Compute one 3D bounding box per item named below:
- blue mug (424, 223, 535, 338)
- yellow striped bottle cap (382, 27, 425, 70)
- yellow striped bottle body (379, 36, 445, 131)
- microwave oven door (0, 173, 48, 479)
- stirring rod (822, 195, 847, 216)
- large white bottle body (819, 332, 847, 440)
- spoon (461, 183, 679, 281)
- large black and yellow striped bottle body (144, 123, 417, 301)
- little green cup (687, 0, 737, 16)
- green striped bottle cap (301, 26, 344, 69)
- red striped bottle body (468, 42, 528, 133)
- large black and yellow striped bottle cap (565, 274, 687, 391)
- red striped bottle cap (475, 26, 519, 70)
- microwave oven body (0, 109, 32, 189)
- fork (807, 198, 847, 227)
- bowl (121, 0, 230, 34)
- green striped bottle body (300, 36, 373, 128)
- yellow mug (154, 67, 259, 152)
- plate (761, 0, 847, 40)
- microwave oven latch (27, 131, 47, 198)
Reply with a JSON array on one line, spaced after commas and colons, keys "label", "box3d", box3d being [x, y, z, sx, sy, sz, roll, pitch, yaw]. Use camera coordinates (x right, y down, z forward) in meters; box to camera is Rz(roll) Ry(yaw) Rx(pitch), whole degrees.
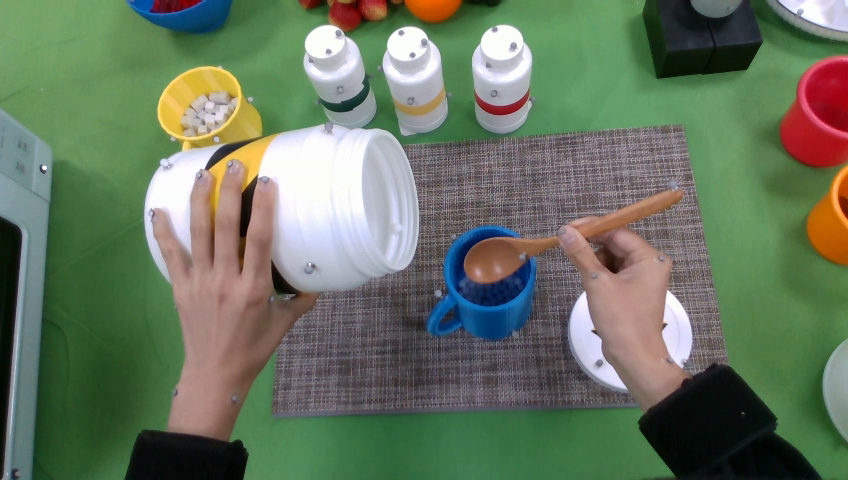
[{"label": "blue mug", "box3d": [0.049, 0.051, 0.578, 0.116, 0.106, 0.081, -35, 68, -7]}, {"label": "yellow striped bottle cap", "box3d": [-0.021, -0.197, 0.624, 0.044, 0.019, 0.044, -1, 65, 2]}, {"label": "yellow striped bottle body", "box3d": [-0.013, -0.178, 0.672, 0.063, 0.121, 0.062, -3, 68, 7]}, {"label": "microwave oven door", "box3d": [-0.442, 0.074, 0.540, 0.039, 0.246, 0.353, -12, 68, 3]}, {"label": "stirring rod", "box3d": [0.412, -0.008, 0.546, 0.014, 0.006, 0.175, -1, 25, 4]}, {"label": "large white bottle body", "box3d": [0.418, 0.109, 0.472, 0.130, 0.186, 0.129, -2, 68, 6]}, {"label": "spoon", "box3d": [0.113, -0.004, 0.497, 0.193, 0.042, 0.021, -21, 19, 35]}, {"label": "large black and yellow striped bottle body", "box3d": [-0.109, -0.022, 0.489, 0.183, 0.132, 0.130, -7, 67, 20]}, {"label": "little green cup", "box3d": [0.318, -0.277, 0.660, 0.061, 0.039, 0.061, -2, 66, 5]}, {"label": "green striped bottle cap", "box3d": [-0.107, -0.203, 0.636, 0.044, 0.020, 0.044, -1, 68, 4]}, {"label": "red striped bottle body", "box3d": [0.080, -0.175, 0.660, 0.063, 0.120, 0.062, -2, 67, 6]}, {"label": "large black and yellow striped bottle cap", "box3d": [0.197, 0.089, 0.594, 0.115, 0.019, 0.114, -2, 67, 6]}, {"label": "red striped bottle cap", "box3d": [0.074, -0.194, 0.611, 0.044, 0.018, 0.044, -1, 67, 3]}, {"label": "microwave oven body", "box3d": [-0.592, 0.069, 0.566, 0.326, 0.262, 0.438, -12, 68, 2]}, {"label": "fork", "box3d": [0.440, -0.008, 0.534, 0.028, 0.019, 0.205, -30, 23, -13]}, {"label": "bowl", "box3d": [-0.308, -0.324, 0.788, 0.151, 0.077, 0.150, -2, 69, 6]}, {"label": "green striped bottle body", "box3d": [-0.099, -0.183, 0.685, 0.063, 0.120, 0.062, -2, 68, 6]}, {"label": "yellow mug", "box3d": [-0.258, -0.130, 0.712, 0.100, 0.064, 0.130, 6, 70, 9]}, {"label": "plate", "box3d": [0.486, -0.316, 0.710, 0.209, 0.038, 0.207, -2, 69, 6]}, {"label": "microwave oven latch", "box3d": [-0.467, -0.087, 0.716, 0.030, 0.030, 0.078, -11, 69, 2]}]
